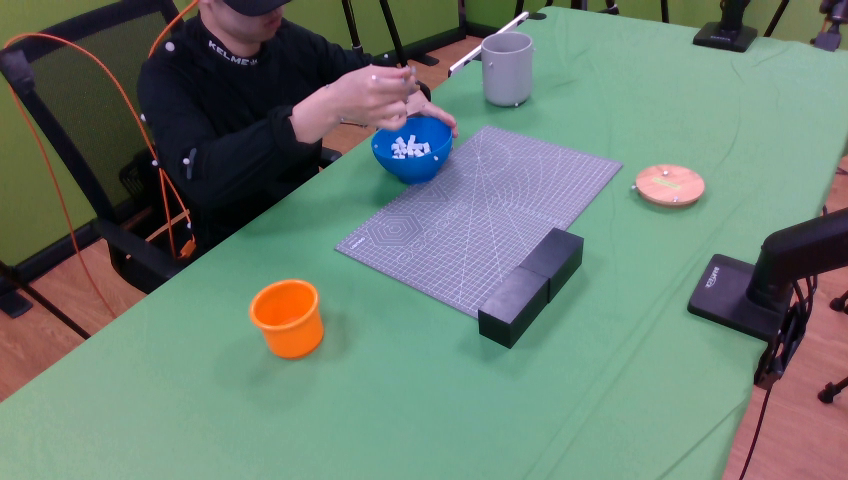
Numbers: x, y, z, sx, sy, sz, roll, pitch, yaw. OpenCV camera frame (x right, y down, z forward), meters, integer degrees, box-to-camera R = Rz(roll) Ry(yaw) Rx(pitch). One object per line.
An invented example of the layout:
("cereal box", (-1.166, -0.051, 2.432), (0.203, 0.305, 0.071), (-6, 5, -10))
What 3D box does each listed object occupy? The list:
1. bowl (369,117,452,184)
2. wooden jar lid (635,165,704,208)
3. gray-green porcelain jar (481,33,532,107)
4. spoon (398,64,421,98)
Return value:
("bowl", (-0.018, -0.155, 1.106), (0.151, 0.077, 0.150), (-6, 39, 5))
("wooden jar lid", (0.410, -0.089, 1.014), (0.108, 0.021, 0.108), (-5, 42, 5))
("gray-green porcelain jar", (0.175, -0.355, 1.278), (0.106, 0.127, 0.105), (-4, 41, 4))
("spoon", (-0.027, -0.248, 0.941), (0.041, 0.021, 0.194), (-16, -1, 2))
